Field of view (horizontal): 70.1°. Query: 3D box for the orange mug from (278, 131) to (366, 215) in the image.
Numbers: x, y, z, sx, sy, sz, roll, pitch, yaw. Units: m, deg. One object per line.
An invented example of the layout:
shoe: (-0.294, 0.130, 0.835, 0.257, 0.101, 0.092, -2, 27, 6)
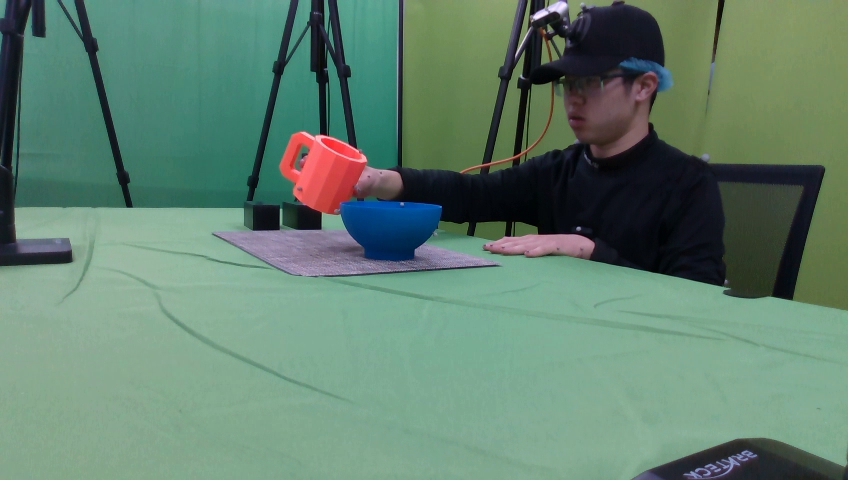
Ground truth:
orange mug: (-0.163, -0.113, 0.946, 0.126, 0.100, 0.083, 35, 20, 5)

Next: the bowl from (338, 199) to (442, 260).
bowl: (-0.050, -0.015, 0.878, 0.151, 0.077, 0.151, 2, 8, 0)
